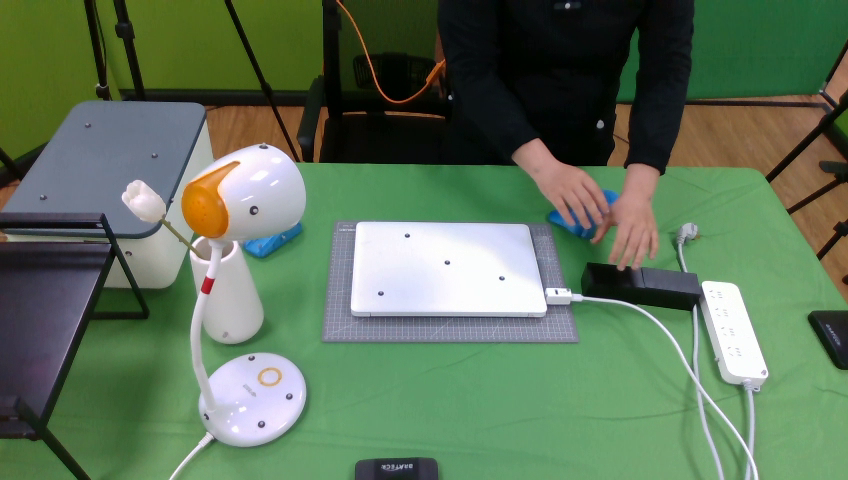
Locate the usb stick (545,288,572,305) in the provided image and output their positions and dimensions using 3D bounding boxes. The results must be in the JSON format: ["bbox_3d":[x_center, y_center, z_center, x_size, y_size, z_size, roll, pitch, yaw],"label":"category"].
[{"bbox_3d":[0.236,0.103,1.102,0.059,0.027,0.021,-1,45,0],"label":"usb stick"}]

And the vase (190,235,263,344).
[{"bbox_3d":[-0.317,0.081,0.971,0.098,0.201,0.097,3,47,-3],"label":"vase"}]

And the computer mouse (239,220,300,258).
[{"bbox_3d":[-0.300,-0.016,1.178,0.062,0.041,0.117,35,58,22],"label":"computer mouse"}]

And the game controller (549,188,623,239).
[{"bbox_3d":[0.346,-0.064,1.271,0.155,0.052,0.096,-31,57,-29],"label":"game controller"}]

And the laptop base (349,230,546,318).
[{"bbox_3d":[0.041,0.056,1.149,0.355,0.023,0.234,1,42,-4],"label":"laptop base"}]

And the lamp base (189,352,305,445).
[{"bbox_3d":[-0.268,0.196,0.876,0.160,0.181,0.179,25,52,20],"label":"lamp base"}]

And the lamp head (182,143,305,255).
[{"bbox_3d":[-0.216,-0.044,0.697,0.112,0.113,0.123,23,31,17],"label":"lamp head"}]

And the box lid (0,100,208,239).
[{"bbox_3d":[-0.559,-0.138,1.085,0.263,0.015,0.369,2,46,-2],"label":"box lid"}]

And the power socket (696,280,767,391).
[{"bbox_3d":[0.543,0.160,1.077,0.072,0.033,0.225,5,47,2],"label":"power socket"}]

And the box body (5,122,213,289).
[{"bbox_3d":[-0.563,-0.087,1.140,0.254,0.161,0.361,2,46,-3],"label":"box body"}]

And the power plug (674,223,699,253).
[{"bbox_3d":[0.536,-0.001,1.245,0.053,0.035,0.072,21,84,-16],"label":"power plug"}]

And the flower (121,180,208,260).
[{"bbox_3d":[-0.329,0.029,0.905,0.038,0.364,0.044,-22,58,-1],"label":"flower"}]

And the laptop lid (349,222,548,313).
[{"bbox_3d":[0.041,0.046,1.143,0.357,0.013,0.240,2,44,-3],"label":"laptop lid"}]
